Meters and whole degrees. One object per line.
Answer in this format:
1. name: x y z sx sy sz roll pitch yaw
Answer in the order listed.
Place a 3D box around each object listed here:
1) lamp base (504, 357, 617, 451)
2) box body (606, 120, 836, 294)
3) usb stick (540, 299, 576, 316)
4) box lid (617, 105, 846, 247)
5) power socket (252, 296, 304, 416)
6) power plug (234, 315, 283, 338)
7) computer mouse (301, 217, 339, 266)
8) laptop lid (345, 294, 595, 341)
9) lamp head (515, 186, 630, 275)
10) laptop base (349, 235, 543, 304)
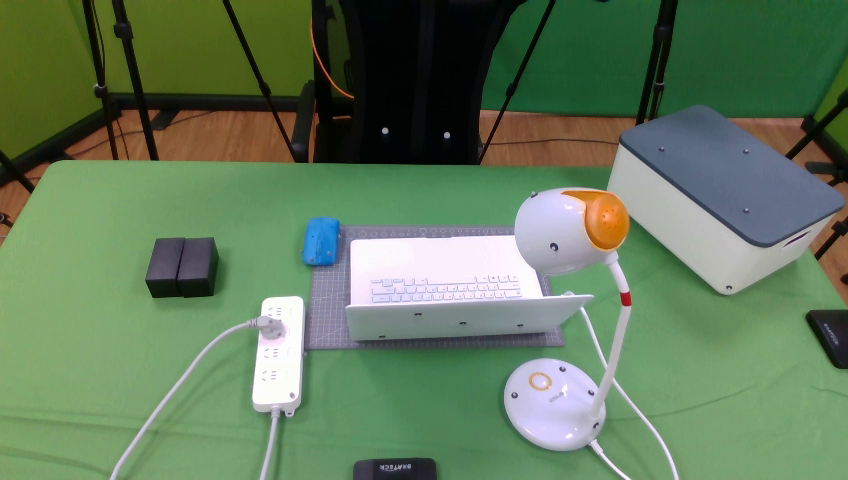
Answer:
1. lamp base: 0.220 0.211 0.902 0.160 0.181 0.178 -32 59 -30
2. box body: 0.584 -0.088 1.230 0.254 0.161 0.361 -22 51 -23
3. usb stick: 0.239 0.121 1.083 0.059 0.027 0.021 -1 52 -2
4. box lid: 0.587 -0.138 1.175 0.263 0.015 0.369 -22 50 -22
5. power socket: -0.238 0.181 0.997 0.072 0.033 0.225 -3 47 -5
6. power plug: -0.269 0.143 1.000 0.072 0.053 0.035 4 47 3
7. computer mouse: -0.200 -0.002 1.170 0.063 0.041 0.116 3 50 -3
8. laptop lid: 0.059 0.124 0.934 0.357 0.242 0.013 -1 69 -7
9. lamp head: 0.188 -0.013 0.728 0.112 0.112 0.122 -25 9 -25
10. laptop base: 0.039 0.081 1.124 0.355 0.023 0.234 -2 43 -6
